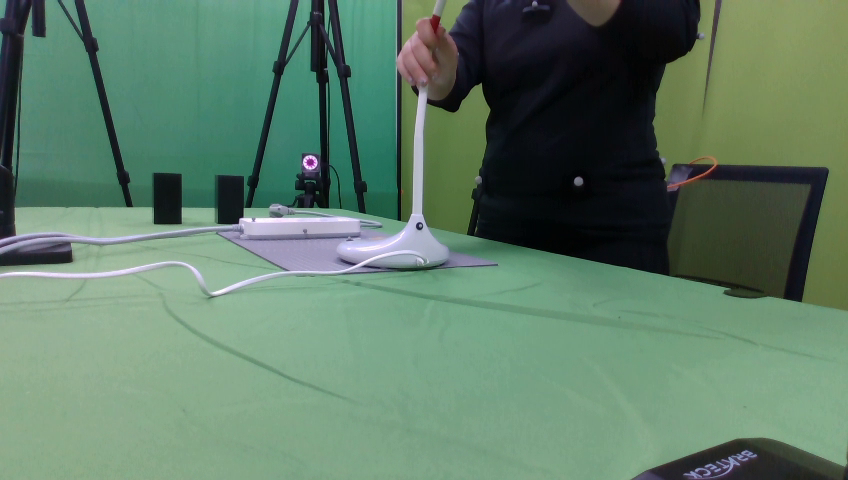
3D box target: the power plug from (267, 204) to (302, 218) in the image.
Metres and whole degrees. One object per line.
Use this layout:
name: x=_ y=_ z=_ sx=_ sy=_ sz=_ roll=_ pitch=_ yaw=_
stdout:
power plug: x=-0.327 y=-0.060 z=1.405 sx=0.073 sy=0.035 sz=0.052 roll=22 pitch=-14 yaw=-27

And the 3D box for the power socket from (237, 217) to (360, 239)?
power socket: x=-0.220 y=-0.023 z=1.080 sx=0.228 sy=0.032 sz=0.072 roll=-2 pitch=8 yaw=-33

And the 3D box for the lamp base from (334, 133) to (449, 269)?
lamp base: x=-0.033 y=-0.058 z=0.829 sx=0.161 sy=0.180 sz=0.178 roll=-3 pitch=13 yaw=-36
